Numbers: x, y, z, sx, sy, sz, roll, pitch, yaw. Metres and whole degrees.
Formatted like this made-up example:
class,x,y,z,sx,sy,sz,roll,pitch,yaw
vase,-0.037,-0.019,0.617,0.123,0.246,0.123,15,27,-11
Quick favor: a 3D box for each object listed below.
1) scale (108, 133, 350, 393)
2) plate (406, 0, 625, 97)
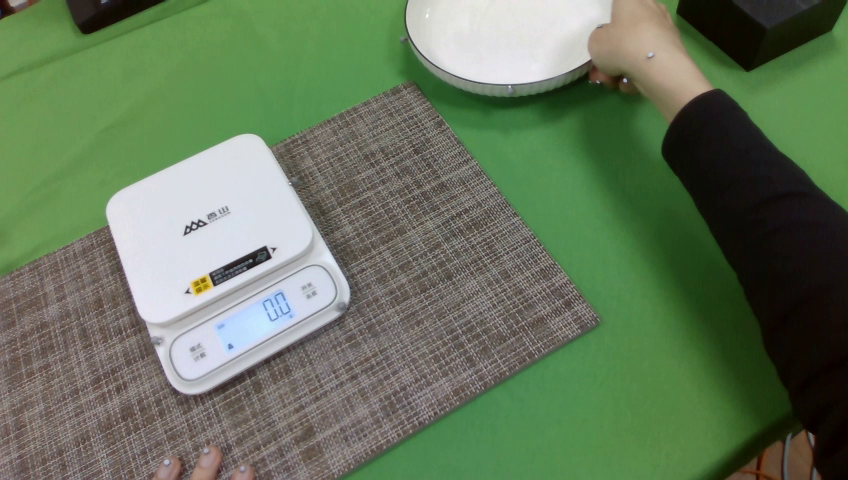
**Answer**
class,x,y,z,sx,sy,sz,roll,pitch,yaw
scale,-0.164,0.008,0.496,0.149,0.032,0.199,-29,61,-9
plate,0.087,-0.214,0.595,0.207,0.039,0.205,-3,59,6
